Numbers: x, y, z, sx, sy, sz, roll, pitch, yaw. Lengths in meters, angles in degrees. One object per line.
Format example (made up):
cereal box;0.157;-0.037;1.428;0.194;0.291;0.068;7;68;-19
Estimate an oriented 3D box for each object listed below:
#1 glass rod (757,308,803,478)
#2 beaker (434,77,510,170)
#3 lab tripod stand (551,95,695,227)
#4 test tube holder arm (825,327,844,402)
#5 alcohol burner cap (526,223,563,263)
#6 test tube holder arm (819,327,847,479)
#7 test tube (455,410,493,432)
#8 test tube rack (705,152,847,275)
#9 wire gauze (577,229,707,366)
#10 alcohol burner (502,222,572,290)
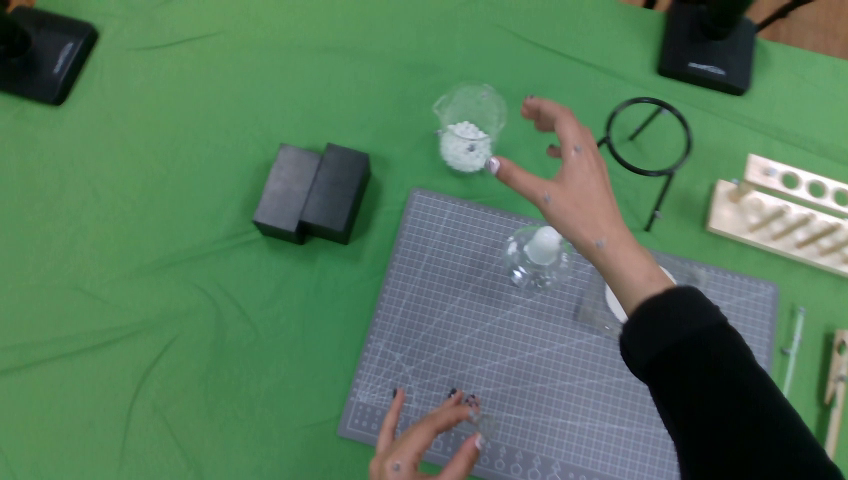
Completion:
glass rod;0.399;0.168;0.677;0.008;0.008;0.199;21;76;4
beaker;0.052;-0.131;0.707;0.084;0.101;0.073;8;73;1
lab tripod stand;0.229;-0.090;0.684;0.148;0.132;0.147;0;75;-1
test tube holder arm;0.464;0.141;0.685;0.010;0.015;0.087;7;71;38
alcohol burner cap;0.126;0.000;0.623;0.034;0.048;0.033;2;68;-4
test tube holder arm;0.455;0.183;0.669;0.013;0.015;0.177;6;70;38
test tube;0.042;0.159;0.537;0.017;0.151;0.017;1;75;-3
test tube rack;0.466;-0.018;0.695;0.242;0.085;0.066;19;74;4
wire gauze;0.253;0.063;0.702;0.125;0.011;0.121;27;76;5
alcohol burner;0.125;0.012;0.657;0.078;0.120;0.077;0;73;1
